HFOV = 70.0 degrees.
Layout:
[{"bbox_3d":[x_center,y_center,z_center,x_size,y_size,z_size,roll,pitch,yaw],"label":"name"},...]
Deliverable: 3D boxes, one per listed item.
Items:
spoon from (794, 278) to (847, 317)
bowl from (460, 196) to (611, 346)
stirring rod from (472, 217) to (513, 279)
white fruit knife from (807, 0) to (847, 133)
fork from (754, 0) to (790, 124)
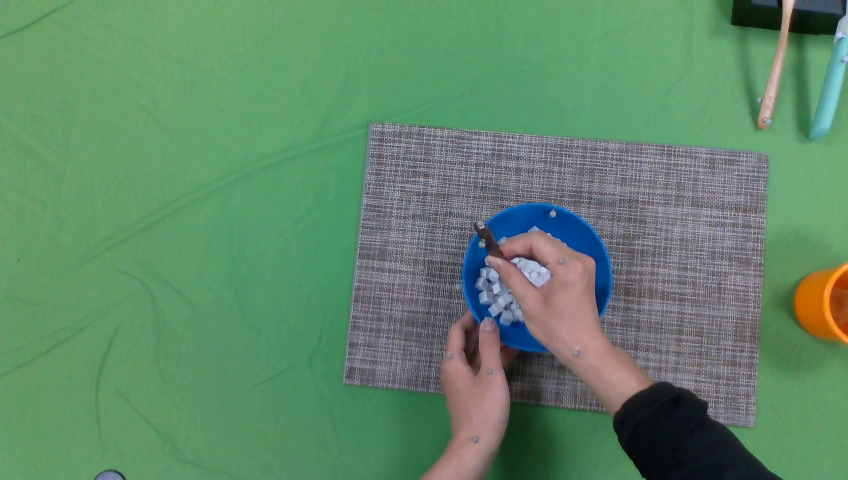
[{"bbox_3d":[0.473,0.063,0.592,0.022,0.192,0.041,10,85,-41],"label":"spoon"},{"bbox_3d":[0.113,0.034,0.640,0.151,0.077,0.151,0,85,3],"label":"bowl"},{"bbox_3d":[0.068,0.012,0.578,0.014,0.177,0.006,14,76,20],"label":"stirring rod"},{"bbox_3d":[0.443,-0.219,0.646,0.016,0.027,0.208,6,102,0],"label":"white fruit knife"},{"bbox_3d":[0.381,-0.230,0.651,0.028,0.018,0.208,3,105,0],"label":"fork"}]
